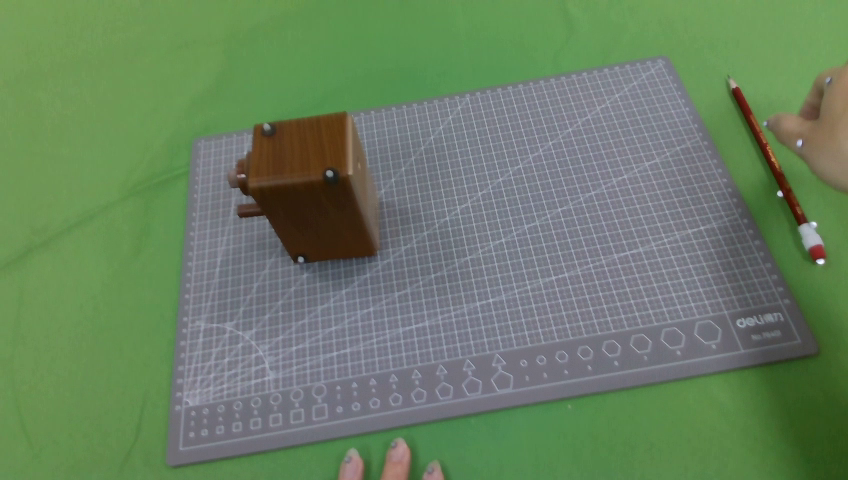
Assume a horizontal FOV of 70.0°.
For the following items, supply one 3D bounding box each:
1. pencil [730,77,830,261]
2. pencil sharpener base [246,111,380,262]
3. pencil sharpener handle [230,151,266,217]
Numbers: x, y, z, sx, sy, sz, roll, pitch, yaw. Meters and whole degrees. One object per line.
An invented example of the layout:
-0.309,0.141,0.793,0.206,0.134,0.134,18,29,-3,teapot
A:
0.282,-0.066,0.490,0.012,0.012,0.192,-7,57,3,pencil
-0.079,-0.035,0.454,0.076,0.108,0.061,-7,58,3,pencil sharpener base
-0.132,-0.037,0.447,0.030,0.068,0.035,-7,62,3,pencil sharpener handle
